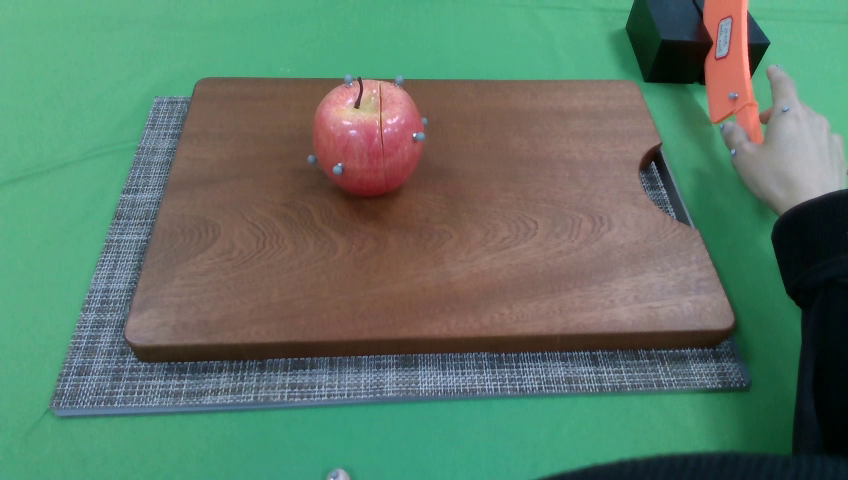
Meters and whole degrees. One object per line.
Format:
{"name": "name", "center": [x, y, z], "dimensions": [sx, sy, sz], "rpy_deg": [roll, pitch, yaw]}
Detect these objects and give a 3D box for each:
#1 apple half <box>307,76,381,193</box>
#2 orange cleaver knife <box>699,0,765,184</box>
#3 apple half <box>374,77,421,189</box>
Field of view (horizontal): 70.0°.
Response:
{"name": "apple half", "center": [-0.058, -0.076, 0.445], "dimensions": [0.053, 0.075, 0.080], "rpy_deg": [-4, 57, -2]}
{"name": "orange cleaver knife", "center": [0.275, -0.143, 0.549], "dimensions": [0.012, 0.077, 0.210], "rpy_deg": [3, 75, -5]}
{"name": "apple half", "center": [-0.019, -0.078, 0.448], "dimensions": [0.033, 0.082, 0.080], "rpy_deg": [-4, 52, -2]}
